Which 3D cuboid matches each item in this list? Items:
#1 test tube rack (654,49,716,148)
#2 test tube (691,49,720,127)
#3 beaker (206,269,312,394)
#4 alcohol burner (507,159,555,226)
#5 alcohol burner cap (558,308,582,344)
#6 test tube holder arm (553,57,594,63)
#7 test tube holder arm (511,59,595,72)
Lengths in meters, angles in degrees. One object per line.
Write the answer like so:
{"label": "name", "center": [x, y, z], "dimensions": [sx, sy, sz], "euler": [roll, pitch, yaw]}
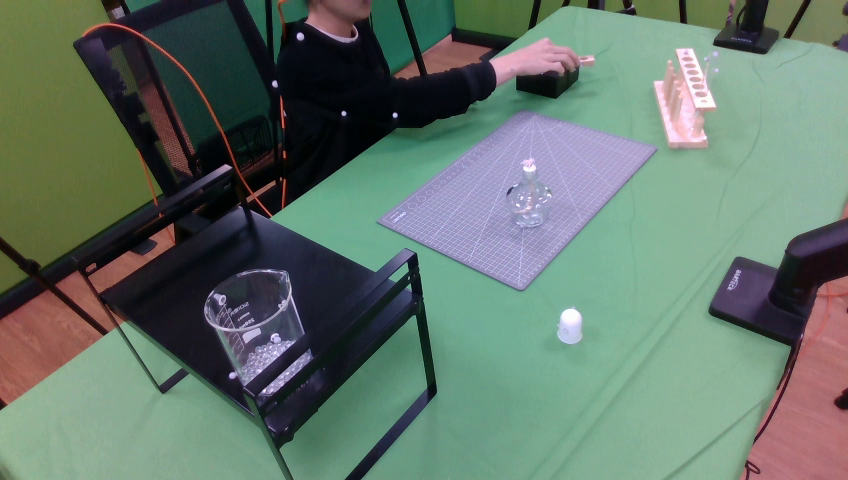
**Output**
{"label": "test tube rack", "center": [0.502, -0.280, 1.176], "dimensions": [0.066, 0.085, 0.241], "euler": [2, 41, 11]}
{"label": "test tube", "center": [0.505, -0.270, 1.087], "dimensions": [0.017, 0.151, 0.017], "euler": [-2, 41, 2]}
{"label": "beaker", "center": [-0.146, 0.086, 0.560], "dimensions": [0.073, 0.101, 0.084], "euler": [19, 46, 27]}
{"label": "alcohol burner", "center": [0.172, -0.081, 0.969], "dimensions": [0.078, 0.119, 0.077], "euler": [-4, 42, 4]}
{"label": "alcohol burner cap", "center": [0.195, 0.111, 0.802], "dimensions": [0.034, 0.048, 0.033], "euler": [-4, 39, 4]}
{"label": "test tube holder arm", "center": [0.321, -0.382, 1.299], "dimensions": [0.088, 0.015, 0.010], "euler": [-4, 43, 1]}
{"label": "test tube holder arm", "center": [0.276, -0.374, 1.294], "dimensions": [0.178, 0.015, 0.013], "euler": [-6, 43, -1]}
